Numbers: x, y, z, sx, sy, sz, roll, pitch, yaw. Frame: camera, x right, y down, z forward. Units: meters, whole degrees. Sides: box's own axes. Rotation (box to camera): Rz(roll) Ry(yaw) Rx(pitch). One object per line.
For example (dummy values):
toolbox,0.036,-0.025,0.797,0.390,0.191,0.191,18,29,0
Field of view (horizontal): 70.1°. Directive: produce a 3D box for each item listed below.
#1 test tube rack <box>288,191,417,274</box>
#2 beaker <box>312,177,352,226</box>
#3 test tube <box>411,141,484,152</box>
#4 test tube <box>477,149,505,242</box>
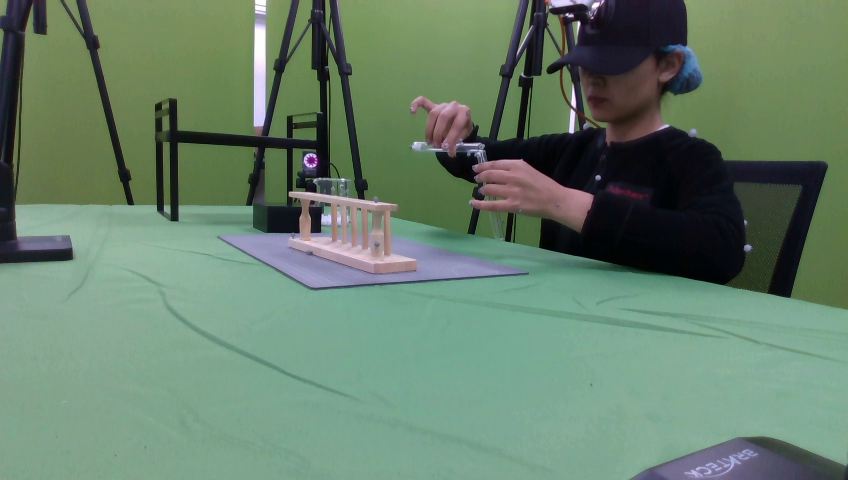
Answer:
test tube rack,-0.106,-0.017,0.835,0.067,0.085,0.241,-3,9,-37
beaker,-0.194,-0.081,1.266,0.084,0.100,0.073,-3,9,-29
test tube,0.035,-0.156,1.006,0.149,0.017,0.017,9,10,40
test tube,0.105,-0.070,0.956,0.017,0.150,0.017,-12,-3,0
